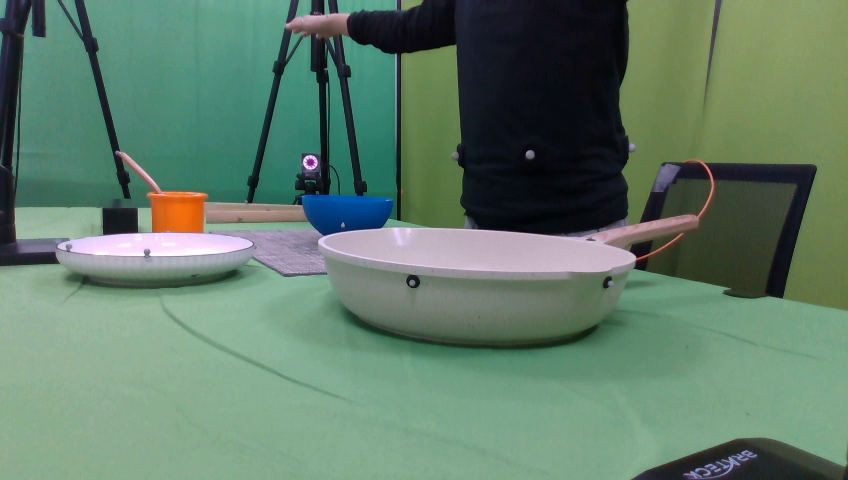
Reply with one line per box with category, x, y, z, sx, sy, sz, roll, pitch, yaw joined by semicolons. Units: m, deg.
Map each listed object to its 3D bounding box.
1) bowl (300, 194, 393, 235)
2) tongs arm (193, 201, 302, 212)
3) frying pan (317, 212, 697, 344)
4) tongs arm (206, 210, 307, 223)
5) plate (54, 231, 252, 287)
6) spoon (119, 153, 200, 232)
bowl;-0.128;-0.034;0.995;0.151;0.077;0.151;2;7;0
tongs arm;-0.338;-0.072;1.429;0.387;0.026;0.050;0;9;-27
frying pan;0.133;0.013;0.629;0.490;0.102;0.305;-12;14;-31
tongs arm;-0.297;-0.057;1.361;0.390;0.028;0.028;-4;7;-39
plate;-0.309;0.020;0.705;0.208;0.039;0.207;3;7;0
spoon;-0.439;-0.077;1.000;0.021;0.193;0.042;-43;-7;21
